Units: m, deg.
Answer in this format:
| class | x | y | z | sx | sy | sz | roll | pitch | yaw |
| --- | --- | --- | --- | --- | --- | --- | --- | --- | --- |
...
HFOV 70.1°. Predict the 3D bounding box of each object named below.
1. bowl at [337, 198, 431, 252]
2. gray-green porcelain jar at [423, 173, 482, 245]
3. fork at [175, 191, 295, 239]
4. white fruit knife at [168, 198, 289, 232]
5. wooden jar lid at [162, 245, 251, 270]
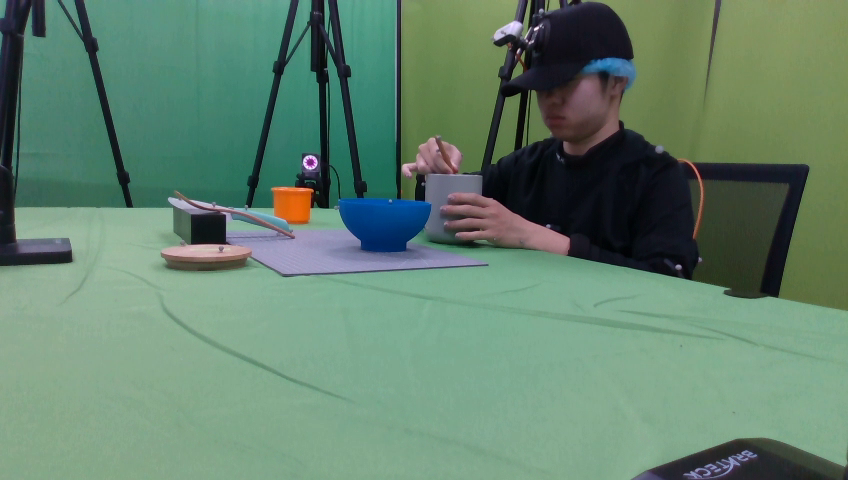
| class | x | y | z | sx | sy | sz | roll | pitch | yaw |
| --- | --- | --- | --- | --- | --- | --- | --- | --- | --- |
| bowl | -0.066 | -0.024 | 0.967 | 0.151 | 0.077 | 0.151 | 3 | 7 | 0 |
| gray-green porcelain jar | 0.052 | -0.059 | 1.116 | 0.106 | 0.126 | 0.106 | 3 | 7 | 0 |
| fork | -0.305 | -0.039 | 0.993 | 0.208 | 0.018 | 0.028 | 20 | -9 | -34 |
| white fruit knife | -0.329 | -0.044 | 1.036 | 0.208 | 0.027 | 0.016 | 14 | -1 | -32 |
| wooden jar lid | -0.278 | 0.022 | 0.777 | 0.108 | 0.020 | 0.108 | 2 | 6 | 0 |
